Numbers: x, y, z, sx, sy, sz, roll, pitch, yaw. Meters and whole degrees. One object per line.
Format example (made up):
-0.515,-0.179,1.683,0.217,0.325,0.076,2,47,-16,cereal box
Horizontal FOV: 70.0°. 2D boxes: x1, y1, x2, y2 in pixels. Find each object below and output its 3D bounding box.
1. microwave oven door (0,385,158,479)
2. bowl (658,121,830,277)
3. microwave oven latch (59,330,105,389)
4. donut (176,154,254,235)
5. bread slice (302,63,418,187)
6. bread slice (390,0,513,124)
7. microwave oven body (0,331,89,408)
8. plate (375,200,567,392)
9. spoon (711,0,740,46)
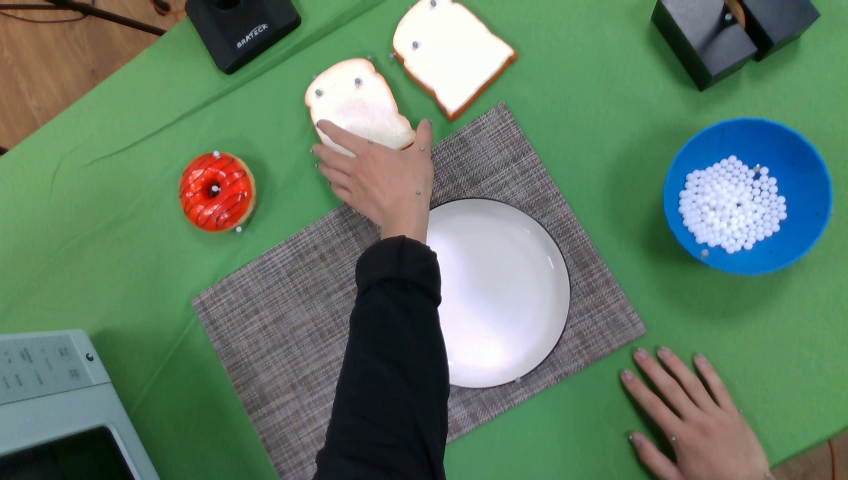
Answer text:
-0.330,0.323,0.604,0.039,0.245,0.354,-33,80,7,microwave oven door
0.308,-0.036,0.609,0.151,0.077,0.151,-1,86,11,bowl
-0.423,0.148,0.737,0.030,0.029,0.079,-32,81,6,microwave oven latch
-0.254,-0.055,0.736,0.099,0.048,0.099,-1,87,13,donut
-0.085,-0.141,0.723,0.107,0.018,0.134,-32,82,6,bread slice
0.022,-0.215,0.708,0.105,0.019,0.131,-45,81,4,bread slice
-0.473,0.367,0.633,0.326,0.261,0.440,-33,81,6,microwave oven body
0.051,0.061,0.668,0.207,0.039,0.207,-1,86,11,plate
0.286,-0.224,0.568,0.021,0.194,0.041,-31,78,22,spoon
